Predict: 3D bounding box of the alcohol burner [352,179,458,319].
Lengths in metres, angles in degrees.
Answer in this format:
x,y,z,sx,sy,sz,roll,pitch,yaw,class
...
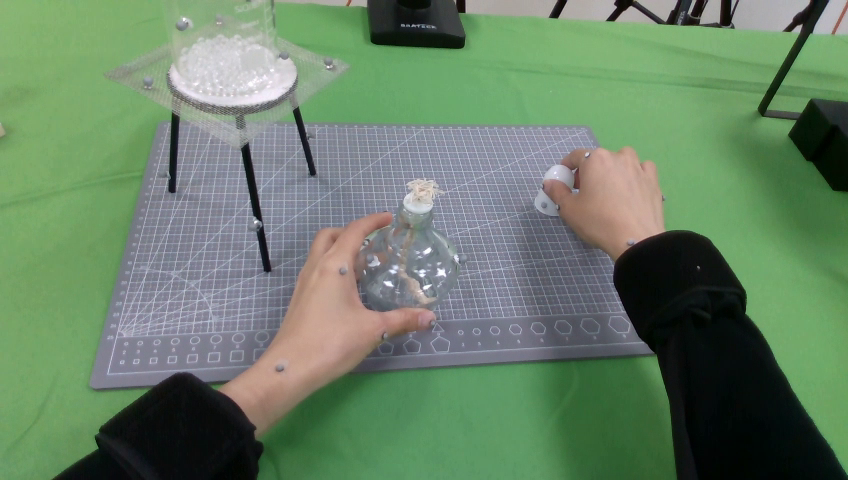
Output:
x,y,z,sx,sy,sz,roll,pitch,yaw,class
-0.012,0.002,0.437,0.078,0.120,0.077,6,45,-5,alcohol burner

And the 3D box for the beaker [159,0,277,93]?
x,y,z,sx,sy,sz,roll,pitch,yaw,class
-0.135,-0.154,0.392,0.073,0.101,0.083,28,50,17,beaker

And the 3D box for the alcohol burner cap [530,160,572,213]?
x,y,z,sx,sy,sz,roll,pitch,yaw,class
0.120,-0.051,0.560,0.034,0.048,0.033,5,46,-5,alcohol burner cap

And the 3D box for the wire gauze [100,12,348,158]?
x,y,z,sx,sy,sz,roll,pitch,yaw,class
-0.137,-0.120,0.428,0.124,0.011,0.121,30,52,13,wire gauze

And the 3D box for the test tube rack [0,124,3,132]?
x,y,z,sx,sy,sz,roll,pitch,yaw,class
-0.471,-0.074,0.459,0.066,0.086,0.241,27,48,17,test tube rack

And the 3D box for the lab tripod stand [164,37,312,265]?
x,y,z,sx,sy,sz,roll,pitch,yaw,class
-0.142,-0.075,0.475,0.148,0.132,0.147,6,46,-6,lab tripod stand
